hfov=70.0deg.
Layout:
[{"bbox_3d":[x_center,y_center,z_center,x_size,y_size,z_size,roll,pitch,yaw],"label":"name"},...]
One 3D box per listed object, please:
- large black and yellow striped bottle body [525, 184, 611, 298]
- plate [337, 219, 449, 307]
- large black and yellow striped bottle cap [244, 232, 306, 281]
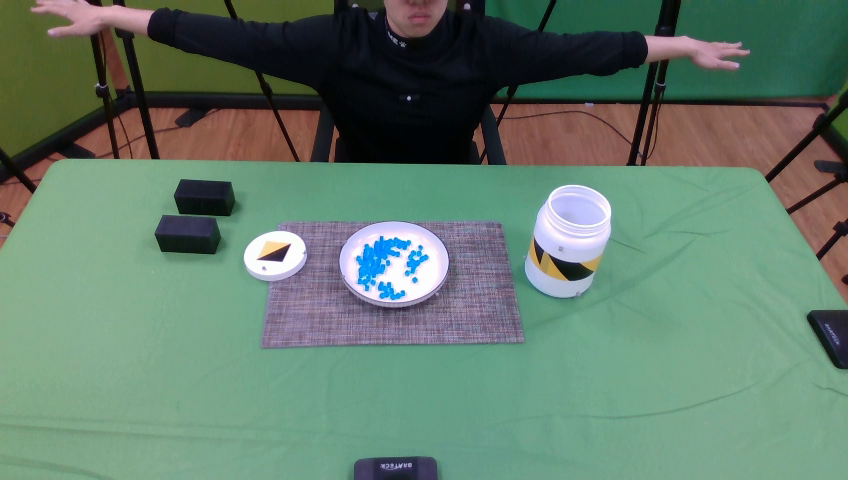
[{"bbox_3d":[0.262,0.002,1.101,0.131,0.185,0.130,2,46,-2],"label":"large black and yellow striped bottle body"},{"bbox_3d":[-0.057,0.045,1.132,0.208,0.039,0.206,2,46,-2],"label":"plate"},{"bbox_3d":[-0.282,0.030,1.146,0.115,0.019,0.114,-1,45,1],"label":"large black and yellow striped bottle cap"}]
